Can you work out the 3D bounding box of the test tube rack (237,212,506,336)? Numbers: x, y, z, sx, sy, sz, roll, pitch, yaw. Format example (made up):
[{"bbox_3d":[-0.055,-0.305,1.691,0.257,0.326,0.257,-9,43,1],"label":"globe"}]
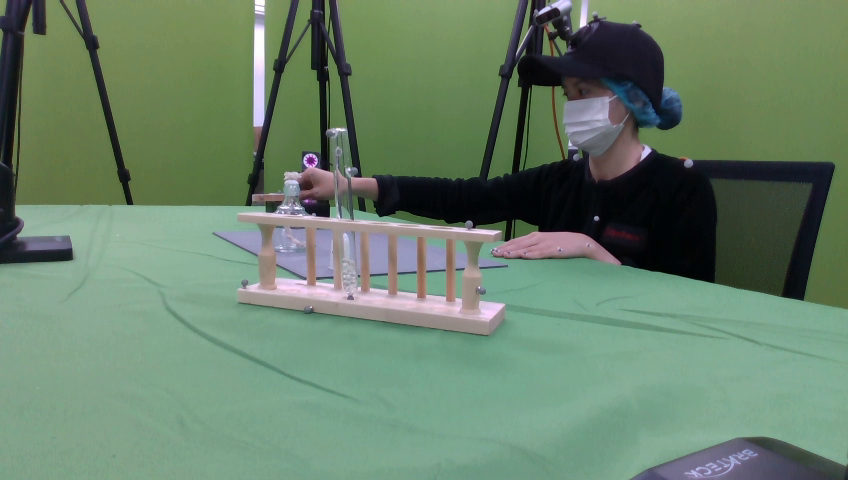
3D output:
[{"bbox_3d":[-0.049,0.024,0.552,0.242,0.085,0.067,5,8,18],"label":"test tube rack"}]

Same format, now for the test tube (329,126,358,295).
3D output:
[{"bbox_3d":[-0.071,-0.025,0.535,0.017,0.150,0.017,-3,8,1],"label":"test tube"}]

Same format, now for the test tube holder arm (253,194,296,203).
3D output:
[{"bbox_3d":[-0.295,-0.082,1.200,0.088,0.015,0.010,-5,22,-42],"label":"test tube holder arm"}]

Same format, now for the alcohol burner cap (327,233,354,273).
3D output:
[{"bbox_3d":[-0.104,0.016,0.752,0.034,0.048,0.034,3,6,0],"label":"alcohol burner cap"}]

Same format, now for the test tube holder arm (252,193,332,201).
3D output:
[{"bbox_3d":[-0.266,-0.087,1.234,0.179,0.015,0.013,-6,22,-43],"label":"test tube holder arm"}]

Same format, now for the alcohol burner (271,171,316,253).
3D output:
[{"bbox_3d":[-0.196,-0.041,0.884,0.078,0.119,0.078,3,5,0],"label":"alcohol burner"}]
